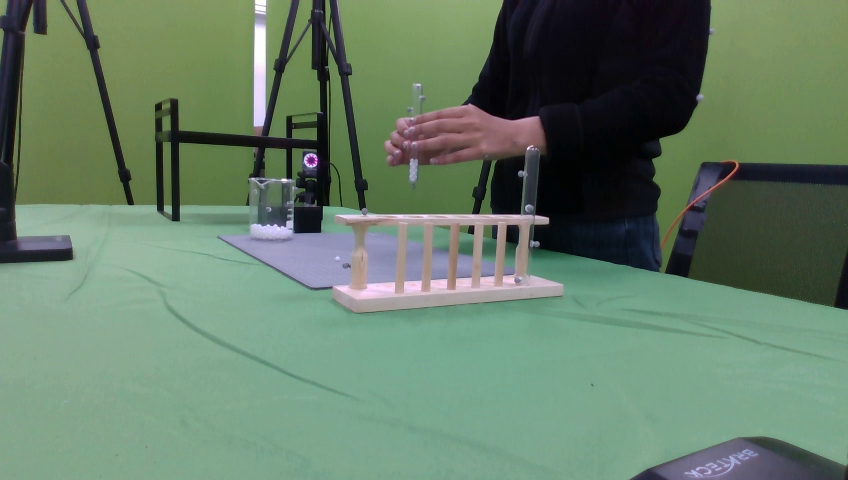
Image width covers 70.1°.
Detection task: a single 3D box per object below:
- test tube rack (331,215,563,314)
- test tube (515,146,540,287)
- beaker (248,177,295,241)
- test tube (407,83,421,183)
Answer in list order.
[{"bbox_3d":[0.031,0.019,0.625,0.243,0.085,0.066,-1,8,-28],"label":"test tube rack"},{"bbox_3d":[0.109,-0.024,0.638,0.017,0.150,0.017,3,6,0],"label":"test tube"},{"bbox_3d":[-0.252,-0.051,0.992,0.074,0.100,0.084,3,9,6],"label":"beaker"},{"bbox_3d":[-0.015,-0.161,0.918,0.017,0.150,0.017,2,12,0],"label":"test tube"}]
